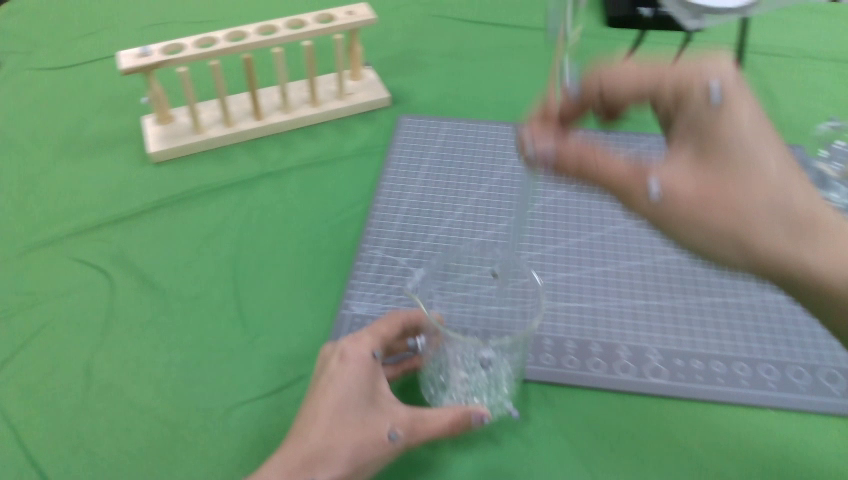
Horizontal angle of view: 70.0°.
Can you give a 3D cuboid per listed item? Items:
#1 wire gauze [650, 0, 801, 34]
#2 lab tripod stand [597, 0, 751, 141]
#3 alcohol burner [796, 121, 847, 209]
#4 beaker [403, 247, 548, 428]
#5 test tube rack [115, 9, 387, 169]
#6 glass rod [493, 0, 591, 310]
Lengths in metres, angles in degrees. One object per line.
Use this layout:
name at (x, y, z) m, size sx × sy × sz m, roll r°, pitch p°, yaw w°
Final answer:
wire gauze at (0.251, -0.229, 0.550) m, size 0.122 × 0.011 × 0.123 m, roll -13°, pitch 49°, yaw -13°
lab tripod stand at (0.257, -0.184, 0.600) m, size 0.148 × 0.132 × 0.147 m, roll 1°, pitch 47°, yaw -1°
alcohol burner at (0.370, -0.084, 0.516) m, size 0.078 × 0.120 × 0.077 m, roll 0°, pitch 49°, yaw 0°
beaker at (0.028, 0.065, 0.380) m, size 0.084 × 0.101 × 0.073 m, roll 5°, pitch 45°, yaw 1°
test tube rack at (-0.163, -0.154, 0.606) m, size 0.243 × 0.086 × 0.066 m, roll -18°, pitch 49°, yaw -16°
glass rod at (0.047, -0.026, 0.270) m, size 0.008 × 0.201 × 0.008 m, roll 2°, pitch 49°, yaw -3°
